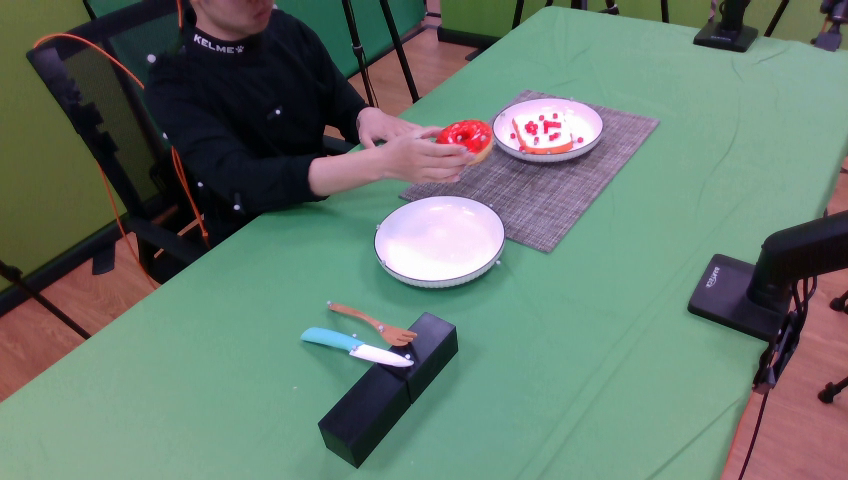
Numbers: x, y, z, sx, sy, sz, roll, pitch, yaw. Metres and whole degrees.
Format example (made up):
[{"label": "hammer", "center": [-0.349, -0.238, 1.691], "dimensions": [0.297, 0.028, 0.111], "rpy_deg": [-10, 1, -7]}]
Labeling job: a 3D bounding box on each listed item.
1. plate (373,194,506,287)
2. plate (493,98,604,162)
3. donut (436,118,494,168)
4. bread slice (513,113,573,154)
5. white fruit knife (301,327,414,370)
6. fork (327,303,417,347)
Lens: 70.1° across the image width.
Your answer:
[{"label": "plate", "center": [0.025, 0.003, 0.952], "dimensions": [0.207, 0.039, 0.206], "rpy_deg": [-4, 41, 4]}, {"label": "plate", "center": [0.237, -0.206, 1.158], "dimensions": [0.209, 0.038, 0.208], "rpy_deg": [-4, 40, 4]}, {"label": "donut", "center": [0.067, -0.159, 0.982], "dimensions": [0.099, 0.048, 0.098], "rpy_deg": [-11, 48, 13]}, {"label": "bread slice", "center": [0.233, -0.205, 1.160], "dimensions": [0.105, 0.019, 0.131], "rpy_deg": [-7, 40, 1]}, {"label": "white fruit knife", "center": [-0.088, 0.140, 0.781], "dimensions": [0.205, 0.016, 0.027], "rpy_deg": [7, 42, 42]}, {"label": "fork", "center": [-0.077, 0.110, 0.811], "dimensions": [0.028, 0.019, 0.205], "rpy_deg": [-41, 33, -26]}]
